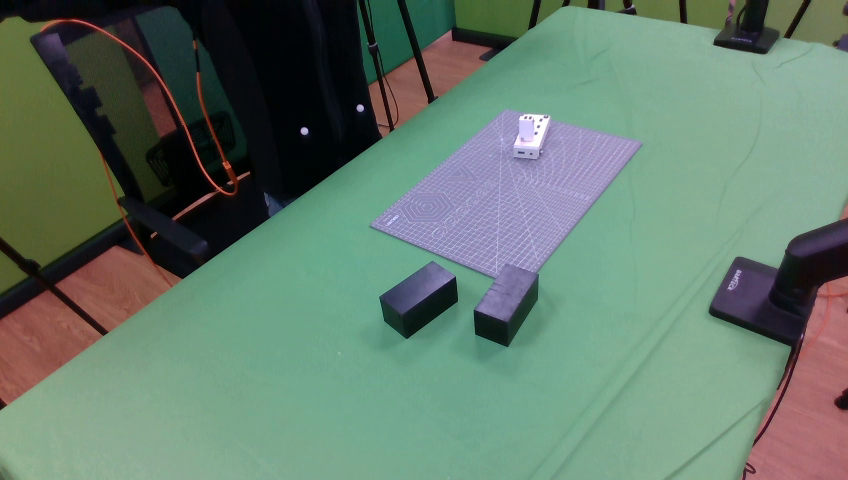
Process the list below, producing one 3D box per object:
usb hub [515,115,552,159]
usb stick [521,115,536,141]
[{"bbox_3d":[0.213,-0.201,1.173,0.049,0.025,0.125,9,43,18],"label":"usb hub"},{"bbox_3d":[0.196,-0.203,1.134,0.027,0.059,0.021,8,42,15],"label":"usb stick"}]
